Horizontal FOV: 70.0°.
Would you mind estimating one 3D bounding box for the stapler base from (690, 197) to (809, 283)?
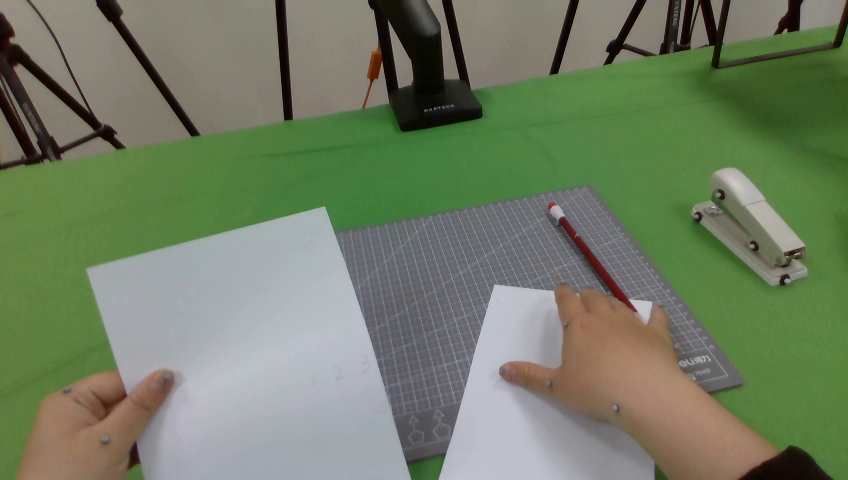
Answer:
[{"bbox_3d":[0.313,-0.010,0.590,0.041,0.025,0.129,-16,41,-8],"label":"stapler base"}]

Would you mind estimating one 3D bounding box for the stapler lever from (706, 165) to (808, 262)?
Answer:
[{"bbox_3d":[0.312,-0.029,0.572,0.027,0.040,0.116,-16,41,-8],"label":"stapler lever"}]

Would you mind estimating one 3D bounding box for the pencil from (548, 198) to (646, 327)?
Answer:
[{"bbox_3d":[0.163,0.015,0.584,0.012,0.012,0.192,-13,41,-9],"label":"pencil"}]
